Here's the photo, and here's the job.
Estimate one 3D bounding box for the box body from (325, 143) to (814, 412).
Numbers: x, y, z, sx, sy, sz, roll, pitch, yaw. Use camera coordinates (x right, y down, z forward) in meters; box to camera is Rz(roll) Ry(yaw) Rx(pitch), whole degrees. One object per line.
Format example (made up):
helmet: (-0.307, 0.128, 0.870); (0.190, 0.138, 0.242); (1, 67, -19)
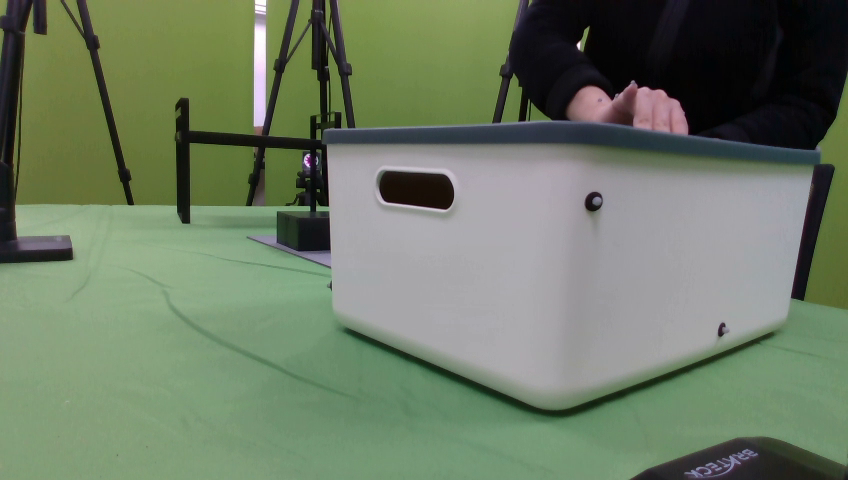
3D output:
box body: (0.126, -0.001, 0.511); (0.366, 0.160, 0.253); (-4, 10, -41)

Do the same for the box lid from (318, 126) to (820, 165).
box lid: (0.130, -0.073, 0.503); (0.374, 0.015, 0.262); (-4, 10, -40)

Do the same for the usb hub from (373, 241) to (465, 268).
usb hub: (-0.005, 0.018, 0.826); (0.126, 0.025, 0.049); (-3, 9, -39)
